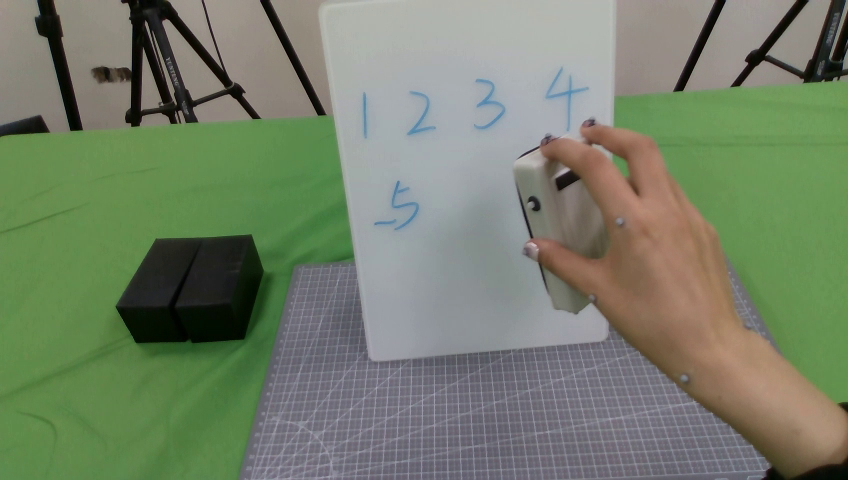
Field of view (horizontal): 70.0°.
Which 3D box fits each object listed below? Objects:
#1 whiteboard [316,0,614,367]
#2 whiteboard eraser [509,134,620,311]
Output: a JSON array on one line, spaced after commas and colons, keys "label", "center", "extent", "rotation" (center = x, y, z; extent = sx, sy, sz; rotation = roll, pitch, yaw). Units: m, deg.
[{"label": "whiteboard", "center": [0.042, -0.062, 0.550], "extent": [0.217, 0.307, 0.143], "rotation": [-5, 21, 1]}, {"label": "whiteboard eraser", "center": [0.095, -0.012, 0.415], "extent": [0.055, 0.113, 0.041], "rotation": [-31, 21, -27]}]
